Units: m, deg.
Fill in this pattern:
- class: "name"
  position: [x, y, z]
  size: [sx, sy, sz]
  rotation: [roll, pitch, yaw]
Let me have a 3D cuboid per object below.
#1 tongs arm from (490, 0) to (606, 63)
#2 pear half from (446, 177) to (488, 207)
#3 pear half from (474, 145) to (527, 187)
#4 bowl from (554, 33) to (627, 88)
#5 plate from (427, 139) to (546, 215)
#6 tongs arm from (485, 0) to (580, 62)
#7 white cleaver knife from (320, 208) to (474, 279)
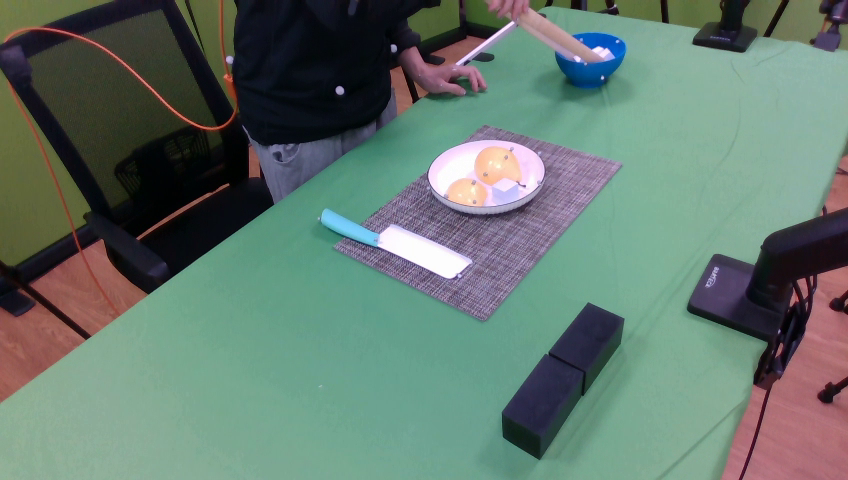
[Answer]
- class: "tongs arm"
  position: [0.240, -0.404, 1.167]
  size: [0.388, 0.026, 0.050]
  rotation: [11, 25, -44]
- class: "pear half"
  position: [0.073, -0.086, 1.032]
  size: [0.070, 0.031, 0.087]
  rotation: [-20, 36, -9]
- class: "pear half"
  position: [0.140, -0.129, 1.059]
  size: [0.076, 0.056, 0.109]
  rotation: [-37, 53, -25]
- class: "bowl"
  position: [0.359, -0.384, 1.318]
  size: [0.151, 0.077, 0.150]
  rotation: [-4, 42, 4]
- class: "plate"
  position: [0.109, -0.106, 1.058]
  size: [0.207, 0.039, 0.206]
  rotation: [-4, 40, 4]
- class: "tongs arm"
  position: [0.215, -0.427, 1.197]
  size: [0.391, 0.028, 0.028]
  rotation: [10, 29, -46]
- class: "white cleaver knife"
  position: [-0.053, 0.001, 0.978]
  size: [0.284, 0.021, 0.066]
  rotation: [23, 39, 26]
